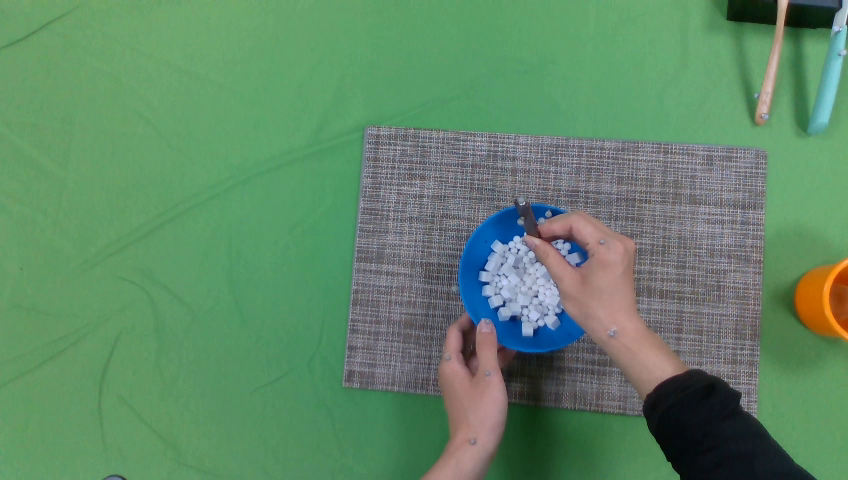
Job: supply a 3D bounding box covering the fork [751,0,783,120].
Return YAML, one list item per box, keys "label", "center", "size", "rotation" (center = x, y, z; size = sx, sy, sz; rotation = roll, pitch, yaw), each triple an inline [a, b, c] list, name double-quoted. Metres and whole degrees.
- label: "fork"
  center: [0.373, -0.233, 0.646]
  size: [0.028, 0.018, 0.208]
  rotation: [2, 105, 1]

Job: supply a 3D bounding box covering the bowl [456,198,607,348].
- label: "bowl"
  center: [0.109, 0.036, 0.639]
  size: [0.151, 0.077, 0.151]
  rotation: [0, 85, 4]

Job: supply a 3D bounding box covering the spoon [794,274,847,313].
- label: "spoon"
  center: [0.469, 0.058, 0.586]
  size: [0.022, 0.192, 0.041]
  rotation: [9, 85, -40]

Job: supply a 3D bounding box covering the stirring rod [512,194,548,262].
- label: "stirring rod"
  center: [0.103, -0.007, 0.577]
  size: [0.014, 0.177, 0.006]
  rotation: [19, 78, 22]

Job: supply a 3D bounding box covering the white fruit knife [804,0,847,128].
- label: "white fruit knife"
  center: [0.435, -0.224, 0.640]
  size: [0.016, 0.027, 0.208]
  rotation: [5, 102, 1]
